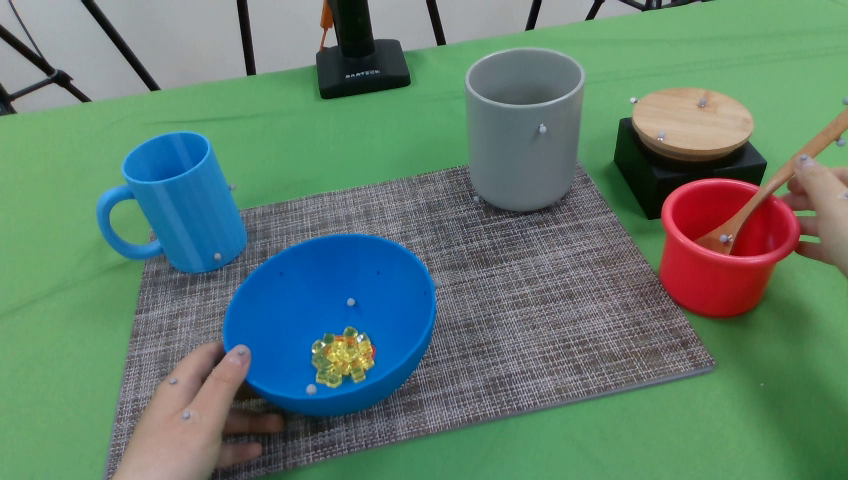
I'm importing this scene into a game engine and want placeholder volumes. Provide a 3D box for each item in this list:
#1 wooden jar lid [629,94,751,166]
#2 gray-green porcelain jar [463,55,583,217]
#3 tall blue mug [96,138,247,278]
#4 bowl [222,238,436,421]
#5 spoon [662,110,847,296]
[{"bbox_3d":[0.252,-0.105,0.579,0.108,0.021,0.107,-4,43,4],"label":"wooden jar lid"},{"bbox_3d":[0.093,-0.094,0.578,0.106,0.128,0.105,-4,43,4],"label":"gray-green porcelain jar"},{"bbox_3d":[-0.226,-0.019,0.550,0.077,0.109,0.107,23,50,27],"label":"tall blue mug"},{"bbox_3d":[-0.063,0.077,0.450,0.151,0.077,0.150,-4,43,4],"label":"bowl"},{"bbox_3d":[0.265,-0.028,0.477,0.022,0.194,0.041,26,22,-34],"label":"spoon"}]
